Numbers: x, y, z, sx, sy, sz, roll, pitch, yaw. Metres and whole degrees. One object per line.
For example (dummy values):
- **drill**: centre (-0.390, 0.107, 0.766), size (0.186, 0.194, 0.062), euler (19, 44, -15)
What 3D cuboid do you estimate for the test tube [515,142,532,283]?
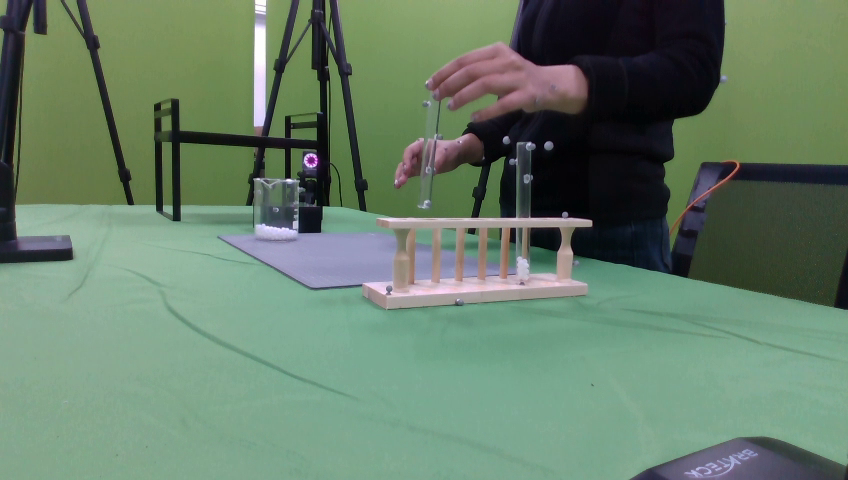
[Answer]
- **test tube**: centre (0.104, -0.027, 0.635), size (0.017, 0.150, 0.017), euler (-1, 12, 1)

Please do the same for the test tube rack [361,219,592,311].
- **test tube rack**: centre (0.060, 0.019, 0.640), size (0.243, 0.085, 0.066), euler (-1, 8, -27)

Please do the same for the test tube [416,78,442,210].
- **test tube**: centre (0.006, -0.109, 0.692), size (0.017, 0.150, 0.017), euler (6, 5, 0)

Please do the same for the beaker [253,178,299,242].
- **beaker**: centre (-0.243, -0.050, 0.990), size (0.074, 0.100, 0.084), euler (2, 9, 1)
